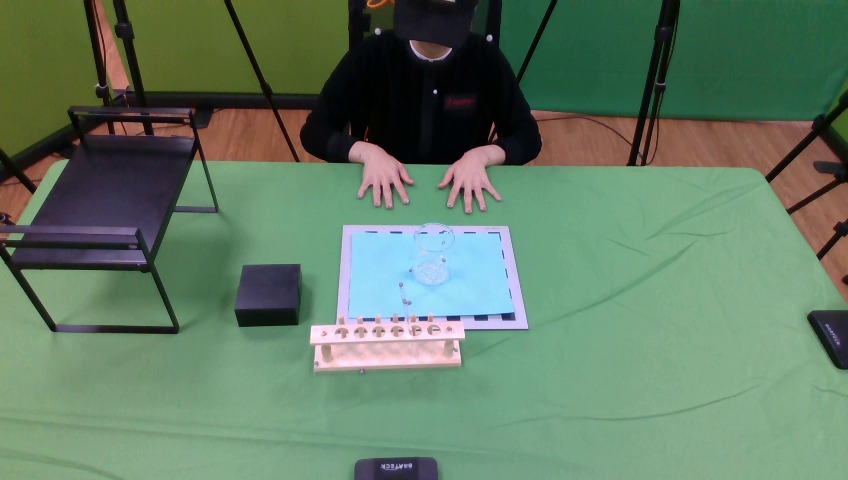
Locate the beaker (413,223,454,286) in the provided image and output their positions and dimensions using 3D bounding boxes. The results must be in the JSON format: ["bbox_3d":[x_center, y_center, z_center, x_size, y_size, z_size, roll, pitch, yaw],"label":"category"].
[{"bbox_3d":[0.018,0.027,1.110,0.073,0.101,0.084,37,54,28],"label":"beaker"}]

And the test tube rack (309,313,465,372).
[{"bbox_3d":[-0.059,0.161,0.990,0.242,0.085,0.066,-1,46,-5],"label":"test tube rack"}]

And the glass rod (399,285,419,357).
[{"bbox_3d":[-0.022,0.129,0.932,0.008,0.201,0.008,-4,49,5],"label":"glass rod"}]
